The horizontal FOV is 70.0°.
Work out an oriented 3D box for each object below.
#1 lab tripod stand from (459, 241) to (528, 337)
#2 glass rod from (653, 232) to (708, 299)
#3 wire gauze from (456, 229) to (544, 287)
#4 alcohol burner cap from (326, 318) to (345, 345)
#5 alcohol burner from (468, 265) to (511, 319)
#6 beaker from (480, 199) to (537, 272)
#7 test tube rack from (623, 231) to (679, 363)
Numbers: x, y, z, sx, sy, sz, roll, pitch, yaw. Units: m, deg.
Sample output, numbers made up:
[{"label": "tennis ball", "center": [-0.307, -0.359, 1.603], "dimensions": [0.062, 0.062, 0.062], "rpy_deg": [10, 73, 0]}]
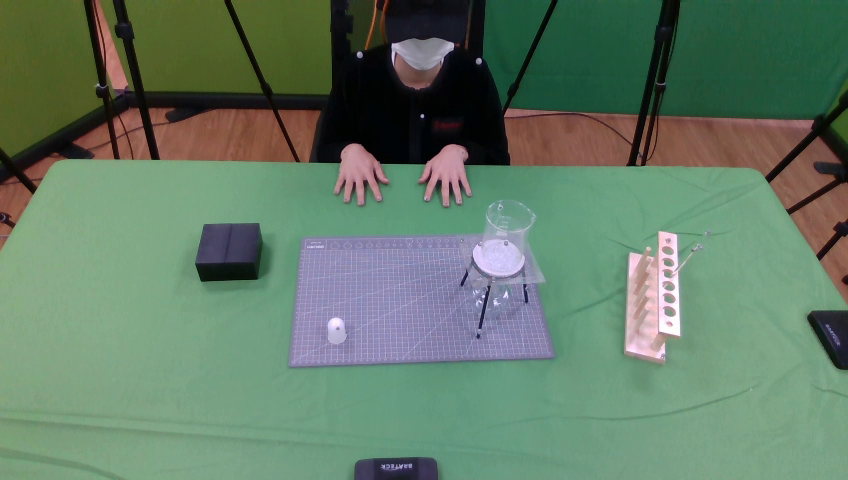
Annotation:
[{"label": "lab tripod stand", "center": [0.122, 0.075, 1.054], "dimensions": [0.148, 0.132, 0.147], "rpy_deg": [3, 44, -3]}, {"label": "glass rod", "center": [0.441, 0.049, 1.050], "dimensions": [0.008, 0.200, 0.008], "rpy_deg": [4, 52, -5]}, {"label": "wire gauze", "center": [0.125, 0.030, 1.008], "dimensions": [0.125, 0.011, 0.120], "rpy_deg": [-3, 48, -11]}, {"label": "alcohol burner cap", "center": [-0.149, 0.151, 1.023], "dimensions": [0.034, 0.048, 0.033], "rpy_deg": [2, 46, -2]}, {"label": "alcohol burner", "center": [0.117, 0.083, 1.060], "dimensions": [0.078, 0.119, 0.077], "rpy_deg": [3, 48, -3]}, {"label": "beaker", "center": [0.132, -0.004, 0.973], "dimensions": [0.084, 0.101, 0.073], "rpy_deg": [-4, 47, -9]}, {"label": "test tube rack", "center": [0.410, 0.094, 1.096], "dimensions": [0.066, 0.085, 0.241], "rpy_deg": [13, 46, 9]}]
